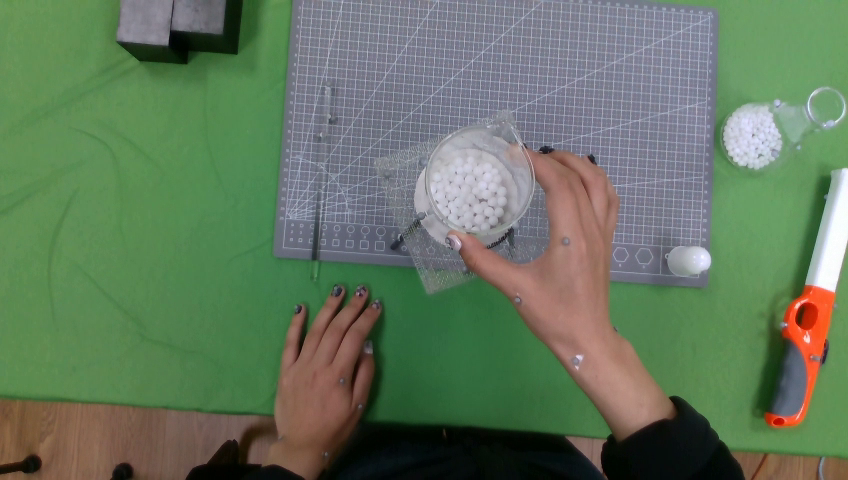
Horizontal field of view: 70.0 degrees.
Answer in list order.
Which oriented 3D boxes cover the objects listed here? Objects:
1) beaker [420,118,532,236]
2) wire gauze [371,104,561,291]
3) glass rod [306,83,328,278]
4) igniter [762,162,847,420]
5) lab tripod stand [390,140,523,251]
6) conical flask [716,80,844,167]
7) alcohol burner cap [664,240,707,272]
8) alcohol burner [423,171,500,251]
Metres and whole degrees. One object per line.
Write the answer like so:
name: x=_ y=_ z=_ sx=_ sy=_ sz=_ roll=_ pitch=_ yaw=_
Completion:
beaker: x=0.035 y=-0.042 z=0.448 sx=0.074 sy=0.100 sz=0.084 roll=27 pitch=86 yaw=-1
wire gauze: x=0.035 y=-0.035 z=0.495 sx=0.125 sy=0.011 sz=0.121 roll=-21 pitch=90 yaw=-5
glass rod: x=-0.108 y=-0.061 z=0.619 sx=0.008 sy=0.008 sz=0.199 roll=5 pitch=90 yaw=-2
igniter: x=0.402 y=0.054 z=0.626 sx=0.057 sy=0.025 sz=0.276 roll=18 pitch=86 yaw=-11
lab tripod stand: x=0.032 y=-0.031 z=0.561 sx=0.148 sy=0.131 sz=0.148 roll=0 pitch=89 yaw=-2
conical flask: x=0.346 y=-0.118 z=0.585 sx=0.075 sy=0.122 sz=0.075 roll=0 pitch=86 yaw=-1
alcohol burner cap: x=0.268 y=0.015 z=0.613 sx=0.034 sy=0.048 sz=0.034 roll=0 pitch=87 yaw=-1
alcohol burner: x=0.035 y=-0.030 z=0.571 sx=0.078 sy=0.119 sz=0.077 roll=0 pitch=85 yaw=0
